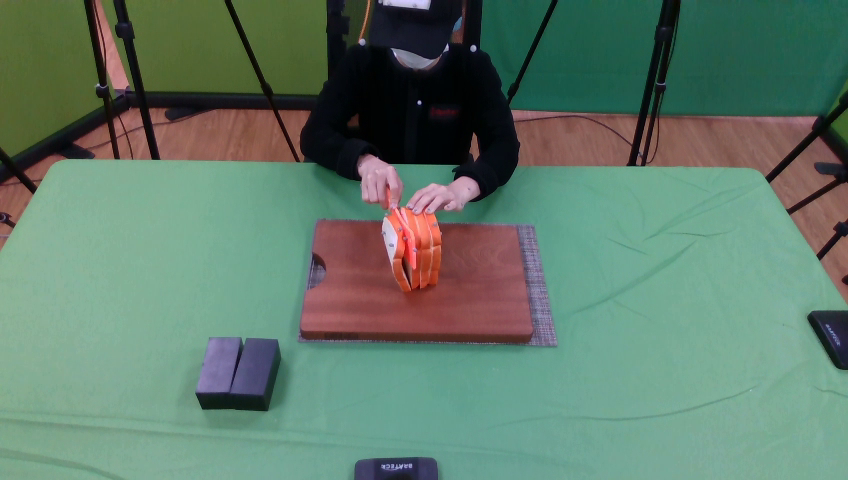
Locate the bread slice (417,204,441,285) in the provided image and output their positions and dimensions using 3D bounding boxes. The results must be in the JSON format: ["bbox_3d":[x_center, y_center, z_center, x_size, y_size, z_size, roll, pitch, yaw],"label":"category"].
[{"bbox_3d":[0.009,0.004,1.081,0.018,0.135,0.106,-12,53,-11],"label":"bread slice"}]

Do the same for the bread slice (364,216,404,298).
[{"bbox_3d":[-0.071,0.021,1.061,0.019,0.132,0.104,4,46,-27],"label":"bread slice"}]

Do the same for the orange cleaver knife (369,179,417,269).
[{"bbox_3d":[-0.056,-0.032,1.070,0.012,0.077,0.210,-17,44,-16],"label":"orange cleaver knife"}]
